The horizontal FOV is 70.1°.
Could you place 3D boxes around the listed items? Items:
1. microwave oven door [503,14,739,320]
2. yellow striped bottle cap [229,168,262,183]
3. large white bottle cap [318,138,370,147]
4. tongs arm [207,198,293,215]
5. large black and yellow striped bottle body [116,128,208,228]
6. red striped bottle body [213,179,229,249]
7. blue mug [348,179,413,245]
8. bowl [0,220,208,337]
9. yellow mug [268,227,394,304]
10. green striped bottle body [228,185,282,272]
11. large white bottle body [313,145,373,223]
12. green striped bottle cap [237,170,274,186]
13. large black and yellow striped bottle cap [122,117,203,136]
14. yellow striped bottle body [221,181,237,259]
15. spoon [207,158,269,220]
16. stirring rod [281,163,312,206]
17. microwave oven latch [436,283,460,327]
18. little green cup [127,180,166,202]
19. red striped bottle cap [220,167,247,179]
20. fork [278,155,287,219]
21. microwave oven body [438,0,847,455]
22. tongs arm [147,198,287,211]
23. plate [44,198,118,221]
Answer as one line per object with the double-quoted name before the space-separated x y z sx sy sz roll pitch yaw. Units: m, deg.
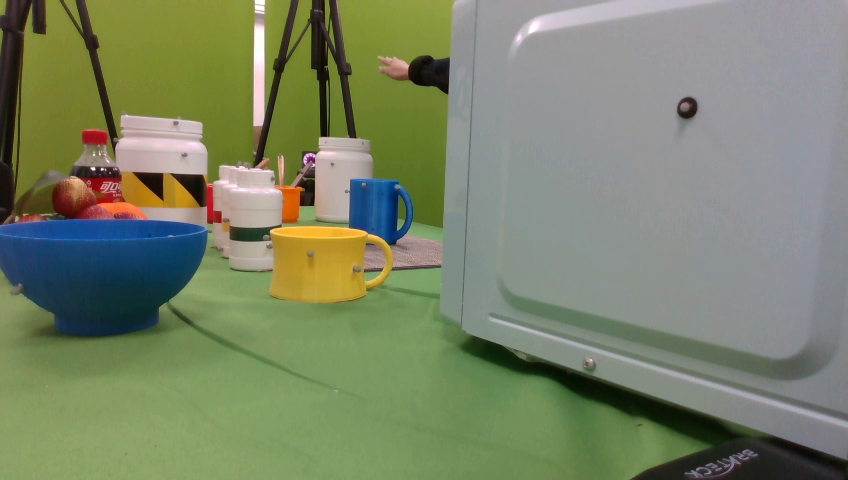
"microwave oven door" 0.218 -0.065 0.600 0.358 0.243 0.039 -4 10 -41
"yellow striped bottle cap" -0.240 -0.087 0.816 0.044 0.018 0.044 -2 5 1
"large white bottle cap" -0.179 -0.218 1.351 0.115 0.018 0.115 2 8 0
"tongs arm" -0.423 -0.084 1.472 0.050 0.026 0.386 2 6 21
"large black and yellow striped bottle body" -0.404 -0.089 0.937 0.131 0.184 0.130 3 7 0
"red striped bottle body" -0.284 -0.048 0.909 0.063 0.119 0.063 3 10 0
"blue mug" -0.071 -0.047 1.002 0.116 0.106 0.082 6 9 26
"bowl" -0.251 0.029 0.479 0.151 0.077 0.151 2 7 0
"yellow mug" -0.094 0.023 0.630 0.131 0.064 0.099 0 7 -22
"green striped bottle body" -0.208 -0.023 0.745 0.063 0.119 0.063 2 7 0
"large white bottle body" -0.182 -0.135 1.362 0.131 0.184 0.130 2 7 0
"green striped bottle cap" -0.205 -0.075 0.737 0.044 0.020 0.044 1 6 0
"large black and yellow striped bottle cap" -0.399 -0.174 0.927 0.115 0.019 0.115 5 9 -1
"yellow striped bottle body" -0.244 -0.036 0.824 0.063 0.120 0.063 2 8 0
"spoon" -0.380 -0.108 1.251 0.041 0.022 0.194 4 51 39
"stirring rod" -0.292 -0.111 1.323 0.014 0.006 0.176 1 47 30
"microwave oven latch" 0.045 0.046 0.471 0.079 0.029 0.030 -3 8 -41
"little green cup" -0.485 -0.087 1.062 0.061 0.038 0.061 0 6 0
"red striped bottle cap" -0.281 -0.099 0.901 0.044 0.017 0.044 -1 5 0
"fork" -0.318 -0.120 1.342 0.028 0.018 0.206 0 52 -13
"microwave oven body" 0.280 -0.039 0.464 0.444 0.260 0.324 -3 8 -41
"tongs arm" -0.504 -0.091 1.513 0.028 0.028 0.389 0 4 37
"plate" -0.617 -0.056 1.179 0.209 0.038 0.209 3 7 0
